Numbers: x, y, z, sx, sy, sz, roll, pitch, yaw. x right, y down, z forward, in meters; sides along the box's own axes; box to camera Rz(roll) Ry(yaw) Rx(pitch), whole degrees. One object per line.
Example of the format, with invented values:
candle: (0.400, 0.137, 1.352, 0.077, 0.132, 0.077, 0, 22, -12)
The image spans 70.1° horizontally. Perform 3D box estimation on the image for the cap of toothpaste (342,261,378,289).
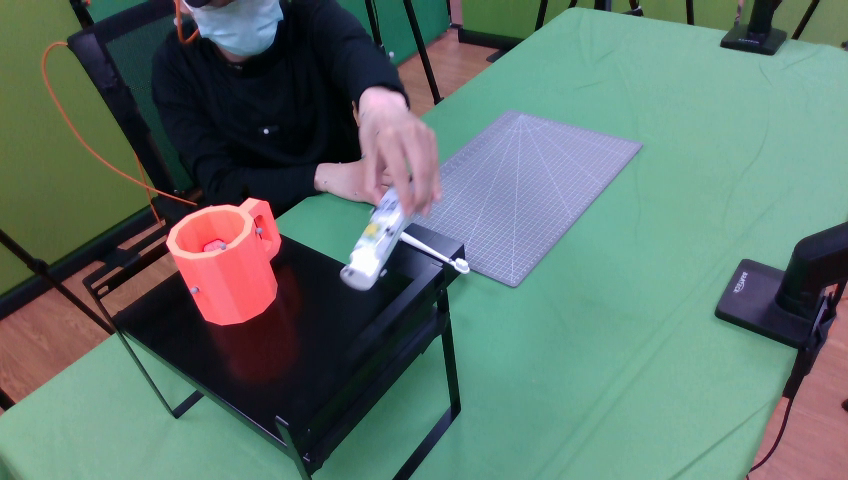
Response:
cap of toothpaste: (-0.064, 0.034, 0.600, 0.037, 0.037, 0.011, 9, 49, 19)

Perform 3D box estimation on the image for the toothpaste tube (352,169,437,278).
toothpaste tube: (-0.035, -0.022, 0.648, 0.055, 0.035, 0.165, 3, 47, 25)

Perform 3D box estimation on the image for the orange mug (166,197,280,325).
orange mug: (-0.203, 0.014, 0.650, 0.083, 0.101, 0.126, 12, 48, 22)

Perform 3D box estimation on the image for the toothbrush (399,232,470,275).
toothbrush: (-0.004, 0.008, 0.894, 0.180, 0.017, 0.014, 27, 54, 34)
